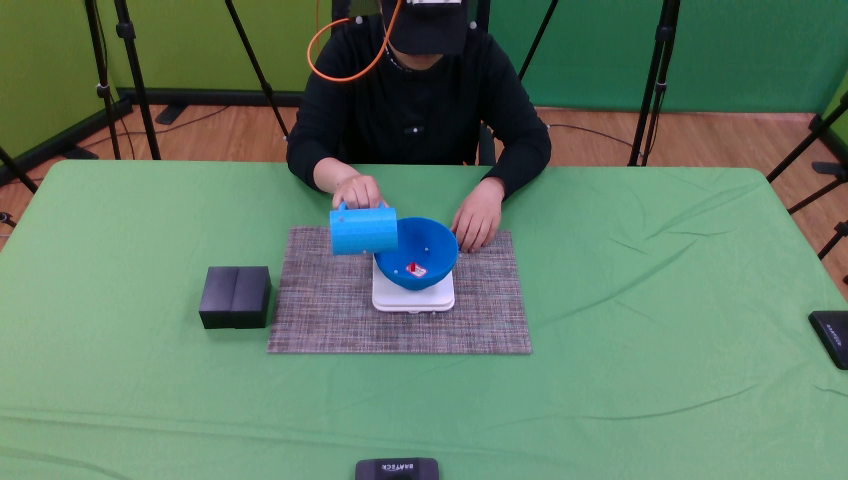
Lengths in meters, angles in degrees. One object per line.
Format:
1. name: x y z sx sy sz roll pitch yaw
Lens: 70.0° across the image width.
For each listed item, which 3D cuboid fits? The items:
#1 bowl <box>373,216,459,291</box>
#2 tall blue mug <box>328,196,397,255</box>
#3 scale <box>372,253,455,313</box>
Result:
1. bowl: -0.015 0.036 1.075 0.151 0.077 0.150 1 46 -1
2. tall blue mug: -0.104 -0.031 1.015 0.108 0.078 0.107 -4 79 -7
3. scale: -0.022 0.051 1.134 0.149 0.032 0.199 1 46 -4
